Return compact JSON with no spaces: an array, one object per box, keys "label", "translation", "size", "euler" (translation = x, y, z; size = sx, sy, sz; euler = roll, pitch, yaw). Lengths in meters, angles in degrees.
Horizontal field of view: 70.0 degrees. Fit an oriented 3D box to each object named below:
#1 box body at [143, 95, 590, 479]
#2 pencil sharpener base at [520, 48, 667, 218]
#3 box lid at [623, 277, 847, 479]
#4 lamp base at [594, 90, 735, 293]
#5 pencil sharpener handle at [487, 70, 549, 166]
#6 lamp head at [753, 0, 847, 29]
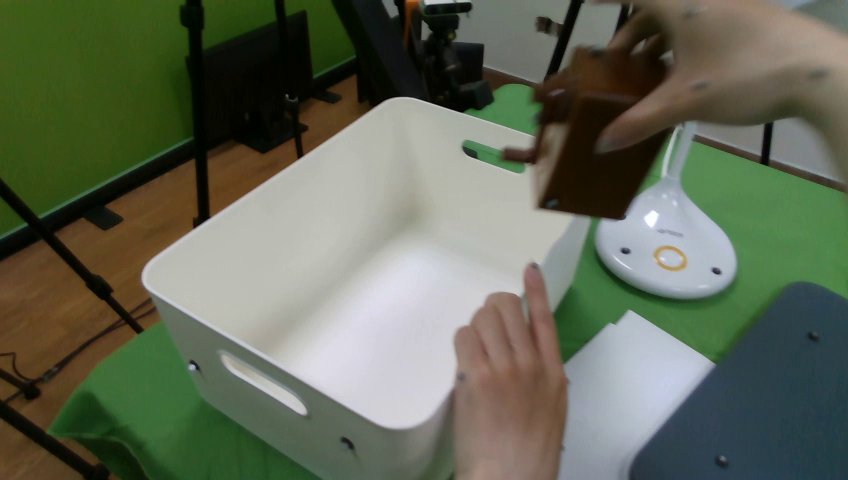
[{"label":"box body","translation":[-0.021,0.032,0.572],"size":[0.252,0.162,0.363],"euler":[24,46,23]},{"label":"pencil sharpener base","translation":[0.113,-0.074,0.438],"size":[0.077,0.108,0.061],"euler":[6,47,-5]},{"label":"box lid","translation":[0.376,0.179,0.531],"size":[0.372,0.015,0.260],"euler":[-31,49,-32]},{"label":"lamp base","translation":[0.285,-0.062,0.676],"size":[0.160,0.182,0.177],"euler":[5,39,4]},{"label":"pencil sharpener handle","translation":[0.064,-0.085,0.420],"size":[0.031,0.068,0.035],"euler":[6,26,-4]},{"label":"lamp head","translation":[0.296,-0.230,0.448],"size":[0.112,0.123,0.112],"euler":[-12,-1,0]}]
